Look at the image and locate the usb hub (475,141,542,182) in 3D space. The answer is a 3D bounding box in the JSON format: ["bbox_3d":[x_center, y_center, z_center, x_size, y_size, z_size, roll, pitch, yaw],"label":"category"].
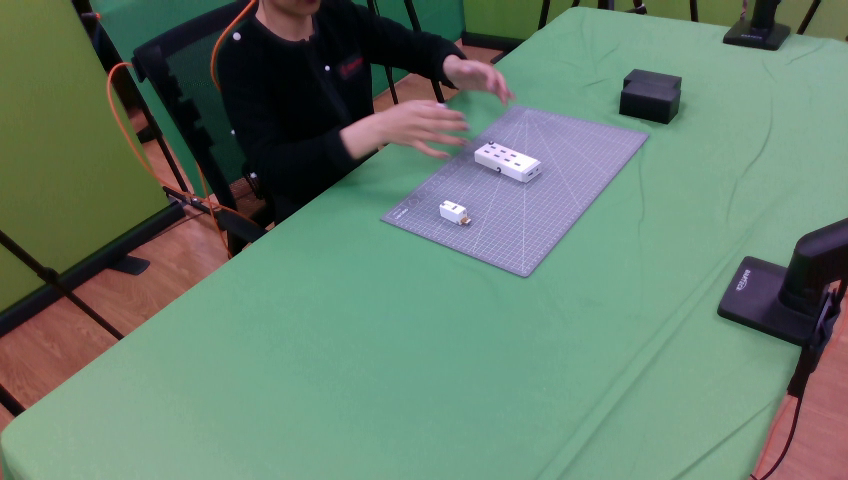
[{"bbox_3d":[0.155,-0.146,1.119,0.050,0.025,0.124,-35,47,-28],"label":"usb hub"}]

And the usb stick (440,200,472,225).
[{"bbox_3d":[0.055,-0.044,1.016,0.058,0.027,0.021,29,52,33],"label":"usb stick"}]
